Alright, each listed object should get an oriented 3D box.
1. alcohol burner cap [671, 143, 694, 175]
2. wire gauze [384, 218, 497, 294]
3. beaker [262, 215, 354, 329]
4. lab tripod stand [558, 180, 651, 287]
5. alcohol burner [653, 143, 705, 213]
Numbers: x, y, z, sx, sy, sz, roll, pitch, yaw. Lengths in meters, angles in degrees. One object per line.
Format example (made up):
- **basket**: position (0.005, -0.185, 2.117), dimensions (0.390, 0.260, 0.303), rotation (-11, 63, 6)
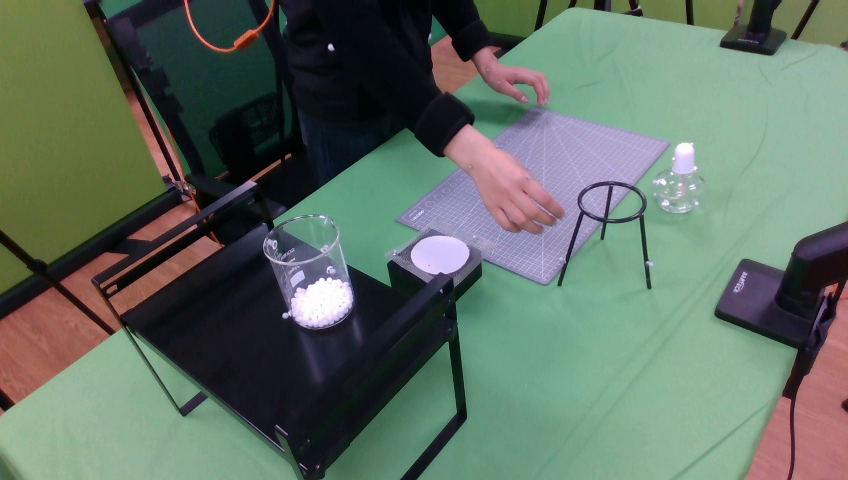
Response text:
- **alcohol burner cap**: position (0.403, -0.129, 0.941), dimensions (0.034, 0.048, 0.033), rotation (-9, 39, 8)
- **wire gauze**: position (0.025, 0.016, 0.886), dimensions (0.124, 0.011, 0.122), rotation (28, 49, 33)
- **beaker**: position (-0.112, 0.034, 0.616), dimensions (0.073, 0.101, 0.084), rotation (13, 44, 23)
- **lab tripod stand**: position (0.258, -0.005, 0.857), dimensions (0.148, 0.132, 0.147), rotation (-4, 43, 5)
- **alcohol burner**: position (0.408, -0.102, 0.963), dimensions (0.078, 0.119, 0.077), rotation (-6, 42, 5)
